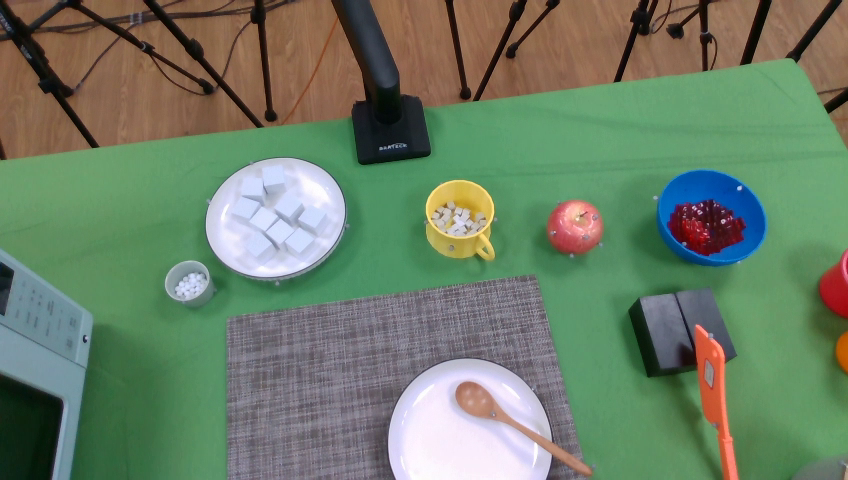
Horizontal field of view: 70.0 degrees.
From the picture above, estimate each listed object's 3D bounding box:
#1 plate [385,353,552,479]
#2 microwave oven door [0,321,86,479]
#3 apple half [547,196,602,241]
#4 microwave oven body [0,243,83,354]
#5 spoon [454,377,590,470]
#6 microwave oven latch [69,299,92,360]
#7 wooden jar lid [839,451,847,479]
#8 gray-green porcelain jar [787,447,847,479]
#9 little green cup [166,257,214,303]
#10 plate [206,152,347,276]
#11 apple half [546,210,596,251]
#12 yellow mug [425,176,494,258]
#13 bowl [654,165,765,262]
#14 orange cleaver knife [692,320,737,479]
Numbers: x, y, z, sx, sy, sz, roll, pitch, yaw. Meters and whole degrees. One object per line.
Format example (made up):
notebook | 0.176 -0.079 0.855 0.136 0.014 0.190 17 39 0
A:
plate | 0.055 0.249 0.771 0.209 0.038 0.207 0 65 0
microwave oven door | -0.453 0.272 0.631 0.039 0.245 0.352 -5 64 -2
apple half | 0.227 -0.032 0.892 0.080 0.075 0.053 30 64 17
microwave oven body | -0.603 0.248 0.647 0.326 0.262 0.438 -5 65 -3
spoon | 0.121 0.233 0.764 0.192 0.022 0.041 28 62 25
microwave oven latch | -0.469 0.121 0.816 0.030 0.030 0.078 -4 65 -2
wooden jar lid | 0.495 0.269 0.646 0.108 0.021 0.107 0 66 0
gray-green porcelain jar | 0.496 0.298 0.702 0.106 0.127 0.105 0 64 0
little green cup | -0.331 0.059 0.865 0.061 0.039 0.061 1 65 -1
plate | -0.218 -0.038 0.915 0.208 0.039 0.206 0 64 0
apple half | 0.205 -0.004 0.877 0.081 0.082 0.032 31 65 14
yellow mug | 0.060 -0.025 0.893 0.100 0.064 0.130 -34 70 -16
bowl | 0.403 -0.026 0.886 0.151 0.077 0.150 0 64 0
orange cleaver knife | 0.365 0.207 0.766 0.012 0.077 0.211 -11 97 -1
